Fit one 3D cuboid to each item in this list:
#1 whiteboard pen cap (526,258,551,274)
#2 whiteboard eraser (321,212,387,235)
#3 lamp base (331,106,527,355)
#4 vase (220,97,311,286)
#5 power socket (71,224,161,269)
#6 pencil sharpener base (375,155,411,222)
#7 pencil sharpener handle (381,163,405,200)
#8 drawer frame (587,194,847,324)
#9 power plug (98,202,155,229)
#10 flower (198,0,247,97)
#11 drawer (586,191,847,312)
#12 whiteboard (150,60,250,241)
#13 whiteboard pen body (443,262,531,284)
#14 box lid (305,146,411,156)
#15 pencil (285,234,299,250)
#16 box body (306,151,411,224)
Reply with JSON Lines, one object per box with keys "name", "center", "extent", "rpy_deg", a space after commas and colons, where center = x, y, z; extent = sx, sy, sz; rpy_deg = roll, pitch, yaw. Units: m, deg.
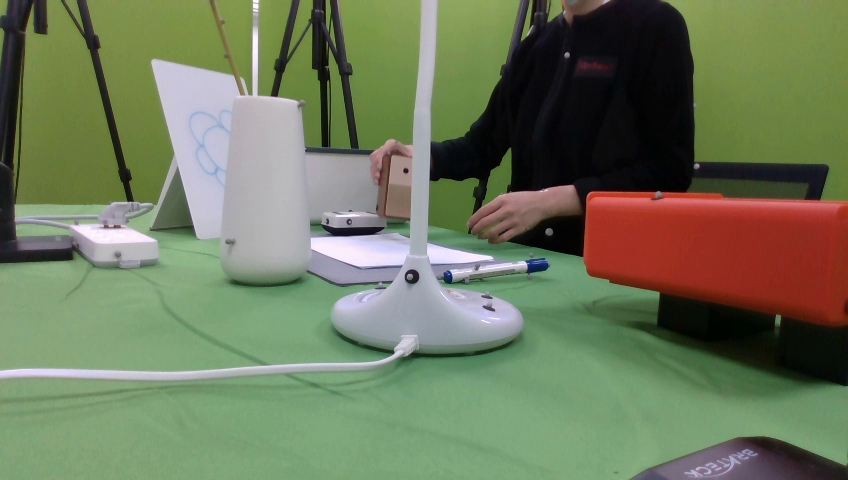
{"name": "whiteboard pen cap", "center": [0.141, 0.033, 0.759], "extent": [0.033, 0.018, 0.018], "rpy_deg": [-7, 11, -26]}
{"name": "whiteboard eraser", "center": [-0.128, -0.031, 1.108], "extent": [0.113, 0.042, 0.055], "rpy_deg": [-3, 8, -38]}
{"name": "lamp base", "center": [0.006, -0.012, 0.478], "extent": [0.161, 0.180, 0.179], "rpy_deg": [2, 10, 2]}
{"name": "vase", "center": [-0.172, -0.052, 0.662], "extent": [0.098, 0.200, 0.098], "rpy_deg": [3, 8, 0]}
{"name": "power socket", "center": [-0.408, 0.004, 0.793], "extent": [0.072, 0.032, 0.225], "rpy_deg": [-2, 8, -38]}
{"name": "pencil sharpener base", "center": [-0.043, -0.087, 1.036], "extent": [0.061, 0.107, 0.076], "rpy_deg": [5, 3, -18]}
{"name": "pencil sharpener handle", "center": [-0.061, -0.104, 1.083], "extent": [0.036, 0.067, 0.030], "rpy_deg": [20, -2, -18]}
{"name": "drawer frame", "center": [0.285, 0.004, 0.508], "extent": [0.203, 0.082, 0.212], "rpy_deg": [-1, 6, -29]}
{"name": "power plug", "center": [-0.416, -0.027, 0.848], "extent": [0.073, 0.052, 0.035], "rpy_deg": [0, 8, -28]}
{"name": "flower", "center": [-0.187, -0.133, 0.648], "extent": [0.038, 0.362, 0.044], "rpy_deg": [0, 22, 43]}
{"name": "drawer", "center": [0.281, 0.001, 0.513], "extent": [0.195, 0.073, 0.210], "rpy_deg": [-1, 8, -29]}
{"name": "whiteboard", "center": [-0.408, -0.139, 1.093], "extent": [0.143, 0.305, 0.218], "rpy_deg": [-15, -1, 26]}
{"name": "whiteboard pen body", "center": [0.088, 0.038, 0.733], "extent": [0.141, 0.017, 0.017], "rpy_deg": [-5, 10, -27]}
{"name": "box lid", "center": [-0.229, -0.200, 1.360], "extent": [0.373, 0.015, 0.262], "rpy_deg": [-3, 9, -33]}
{"name": "pencil", "center": [-0.209, 0.000, 0.969], "extent": [0.012, 0.012, 0.193], "rpy_deg": [1, 6, -8]}
{"name": "box body", "center": [-0.230, -0.126, 1.371], "extent": [0.366, 0.160, 0.253], "rpy_deg": [-2, 9, -33]}
